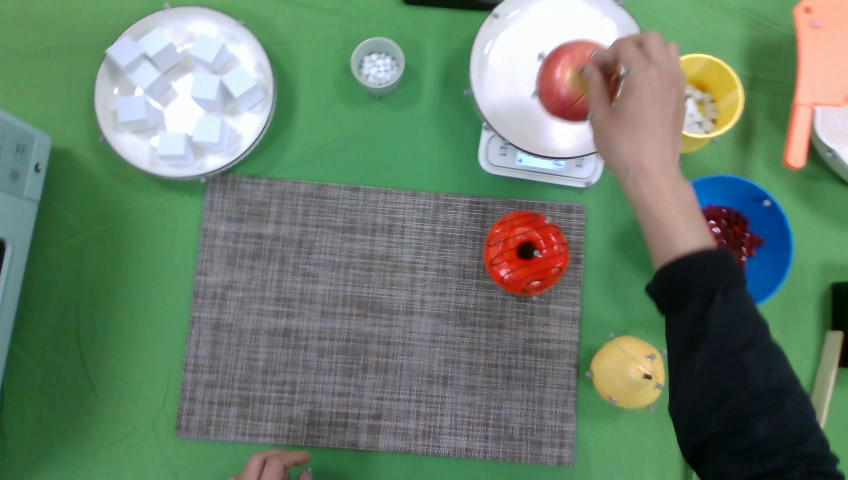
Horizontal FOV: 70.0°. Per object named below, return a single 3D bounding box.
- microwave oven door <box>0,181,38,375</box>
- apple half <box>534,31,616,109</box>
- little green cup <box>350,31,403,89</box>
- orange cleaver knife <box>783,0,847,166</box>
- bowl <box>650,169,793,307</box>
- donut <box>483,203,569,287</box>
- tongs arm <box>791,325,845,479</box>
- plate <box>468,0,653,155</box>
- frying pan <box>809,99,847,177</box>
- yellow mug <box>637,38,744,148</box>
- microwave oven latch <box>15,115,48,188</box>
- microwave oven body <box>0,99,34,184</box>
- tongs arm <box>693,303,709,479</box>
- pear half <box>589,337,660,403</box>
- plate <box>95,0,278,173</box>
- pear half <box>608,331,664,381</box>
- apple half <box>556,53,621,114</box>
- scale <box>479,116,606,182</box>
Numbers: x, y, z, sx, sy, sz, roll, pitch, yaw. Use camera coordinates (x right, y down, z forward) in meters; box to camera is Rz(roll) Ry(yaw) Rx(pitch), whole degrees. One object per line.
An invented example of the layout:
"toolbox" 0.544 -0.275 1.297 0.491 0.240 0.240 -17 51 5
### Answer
"microwave oven door" -0.478 0.103 0.556 0.039 0.244 0.355 7 83 0
"apple half" 0.142 -0.176 0.605 0.081 0.074 0.053 -44 95 5
"little green cup" -0.055 -0.211 0.720 0.061 0.039 0.061 0 83 0
"orange cleaver knife" 0.442 -0.182 0.675 0.077 0.012 0.211 10 84 3
"bowl" 0.320 0.002 0.684 0.151 0.077 0.151 0 84 -1
"donut" 0.116 0.006 0.692 0.099 0.048 0.099 0 84 2
"tongs arm" 0.409 0.278 0.678 0.028 0.028 0.386 20 84 -5
"plate" 0.153 -0.196 0.692 0.209 0.038 0.208 0 84 -2
"frying pan" 0.617 -0.085 0.685 0.307 0.103 0.485 -22 76 -2
"yellow mug" 0.300 -0.178 0.709 0.100 0.064 0.130 -27 84 -3
"microwave oven latch" -0.448 -0.100 0.681 0.030 0.029 0.079 10 84 0
"microwave oven body" -0.618 0.042 0.565 0.326 0.260 0.440 8 84 -1
"tongs arm" 0.324 0.263 0.676 0.051 0.026 0.384 5 85 -4
"pear half" 0.214 0.146 0.649 0.076 0.110 0.056 37 84 8
"plate" -0.273 -0.177 0.712 0.208 0.039 0.207 0 83 -1
"pear half" 0.237 0.120 0.662 0.070 0.088 0.031 36 85 6
"apple half" 0.170 -0.149 0.610 0.081 0.081 0.033 -44 95 -6
"scale" 0.151 -0.177 0.723 0.149 0.031 0.200 9 84 0
